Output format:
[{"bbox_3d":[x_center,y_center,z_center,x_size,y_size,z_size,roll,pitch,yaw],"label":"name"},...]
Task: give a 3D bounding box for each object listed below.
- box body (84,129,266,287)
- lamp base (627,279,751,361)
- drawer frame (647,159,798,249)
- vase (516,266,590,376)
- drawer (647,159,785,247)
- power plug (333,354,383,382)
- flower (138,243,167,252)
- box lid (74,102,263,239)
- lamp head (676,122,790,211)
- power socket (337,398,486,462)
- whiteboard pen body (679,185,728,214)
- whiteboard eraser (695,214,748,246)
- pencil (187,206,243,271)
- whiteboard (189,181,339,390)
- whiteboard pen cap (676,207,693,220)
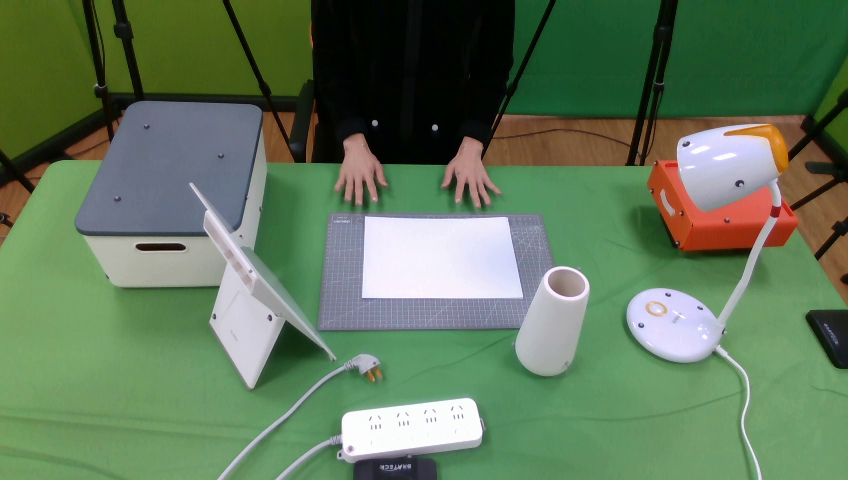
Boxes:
[{"bbox_3d":[-0.447,-0.088,1.150,0.254,0.161,0.361,-1,46,-5],"label":"box body"},{"bbox_3d":[0.459,0.100,1.027,0.178,0.181,0.160,27,51,17],"label":"lamp base"},{"bbox_3d":[0.588,-0.077,1.219,0.214,0.083,0.200,-2,45,-5],"label":"drawer frame"},{"bbox_3d":[0.208,0.132,0.964,0.098,0.201,0.097,3,46,-3],"label":"vase"},{"bbox_3d":[0.582,-0.079,1.214,0.212,0.073,0.193,-1,46,-5],"label":"drawer"},{"bbox_3d":[-0.103,0.215,0.988,0.072,0.035,0.052,-36,77,15],"label":"power plug"},{"bbox_3d":[-0.443,-0.043,1.194,0.044,0.038,0.361,46,47,-7],"label":"flower"},{"bbox_3d":[-0.443,-0.138,1.094,0.263,0.015,0.369,0,46,-5],"label":"box lid"},{"bbox_3d":[0.423,-0.104,0.819,0.122,0.113,0.112,-13,33,40],"label":"lamp head"},{"bbox_3d":[-0.017,0.285,0.914,0.227,0.033,0.071,-4,46,-8],"label":"power socket"},{"bbox_3d":[0.570,-0.081,1.239,0.141,0.017,0.017,-26,53,-22],"label":"whiteboard pen body"},{"bbox_3d":[0.592,-0.019,1.209,0.113,0.042,0.055,12,27,-36],"label":"whiteboard eraser"},{"bbox_3d":[-0.401,-0.008,1.176,0.012,0.012,0.193,15,44,10],"label":"pencil"},{"bbox_3d":[-0.292,0.096,0.929,0.144,0.307,0.216,-37,57,-10],"label":"whiteboard"},{"bbox_3d":[0.524,-0.053,1.216,0.033,0.018,0.018,-28,54,-23],"label":"whiteboard pen cap"}]
